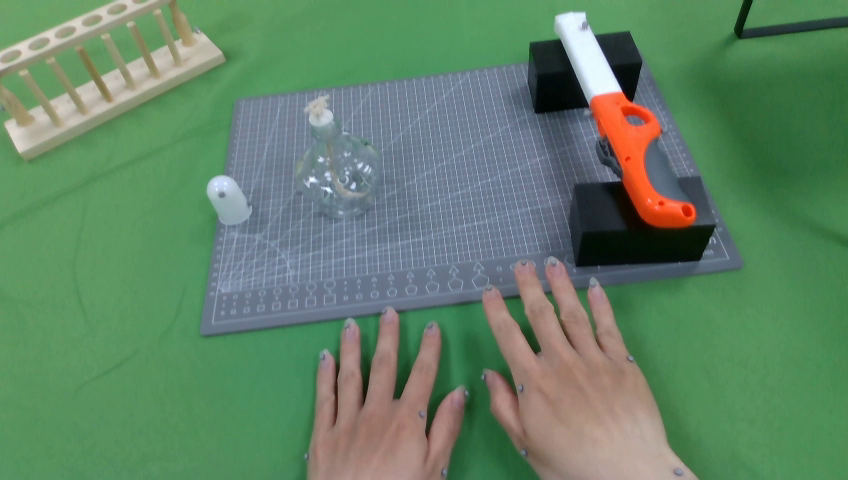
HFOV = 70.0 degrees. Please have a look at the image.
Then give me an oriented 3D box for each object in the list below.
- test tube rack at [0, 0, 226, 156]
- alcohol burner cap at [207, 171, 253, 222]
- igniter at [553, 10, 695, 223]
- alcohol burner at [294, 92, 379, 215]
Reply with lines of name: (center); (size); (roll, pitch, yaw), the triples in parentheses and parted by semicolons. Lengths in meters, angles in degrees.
test tube rack: (-0.355, -0.198, 0.669); (0.242, 0.086, 0.066); (-34, 58, -18)
alcohol burner cap: (-0.182, -0.043, 0.561); (0.034, 0.048, 0.033); (-3, 55, 5)
igniter: (0.164, -0.119, 0.529); (0.057, 0.025, 0.273); (-10, 52, 0)
alcohol burner: (-0.080, -0.079, 0.531); (0.078, 0.120, 0.077); (-3, 51, 5)
